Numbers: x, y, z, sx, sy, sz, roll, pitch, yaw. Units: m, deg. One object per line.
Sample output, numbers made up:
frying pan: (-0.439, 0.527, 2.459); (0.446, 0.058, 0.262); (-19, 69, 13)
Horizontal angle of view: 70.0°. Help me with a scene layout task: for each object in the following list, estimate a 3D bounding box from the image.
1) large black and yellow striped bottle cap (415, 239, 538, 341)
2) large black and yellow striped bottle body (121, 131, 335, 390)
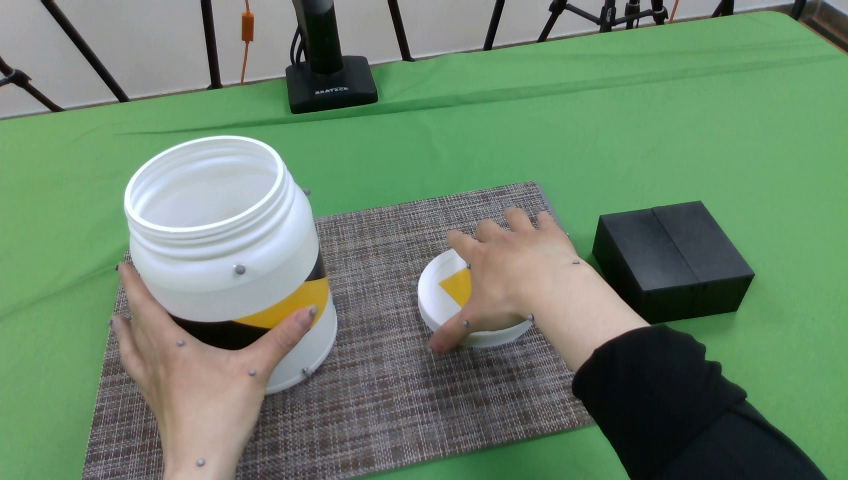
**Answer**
large black and yellow striped bottle cap: (0.049, 0.043, 0.567); (0.115, 0.019, 0.114); (-2, 44, 3)
large black and yellow striped bottle body: (-0.149, 0.019, 0.483); (0.131, 0.186, 0.129); (-2, 45, 2)
